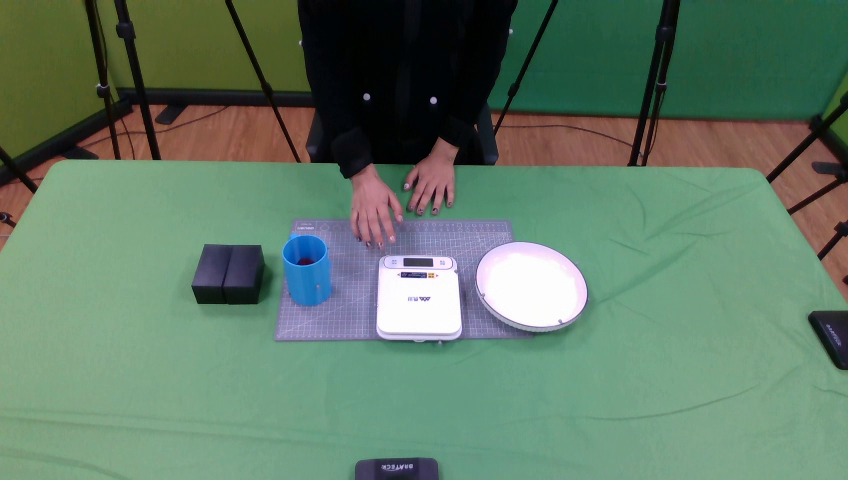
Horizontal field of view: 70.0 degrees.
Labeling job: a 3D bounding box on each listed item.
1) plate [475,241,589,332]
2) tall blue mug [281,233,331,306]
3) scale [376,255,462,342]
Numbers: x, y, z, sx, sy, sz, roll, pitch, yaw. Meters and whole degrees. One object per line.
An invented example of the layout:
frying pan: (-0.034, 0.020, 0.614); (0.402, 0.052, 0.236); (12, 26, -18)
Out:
plate: (0.195, 0.087, 1.112); (0.209, 0.038, 0.208); (3, 46, -3)
tall blue mug: (-0.219, 0.046, 1.073); (0.107, 0.108, 0.077); (28, 52, 21)
scale: (-0.010, 0.096, 1.094); (0.149, 0.032, 0.199); (2, 46, -3)
